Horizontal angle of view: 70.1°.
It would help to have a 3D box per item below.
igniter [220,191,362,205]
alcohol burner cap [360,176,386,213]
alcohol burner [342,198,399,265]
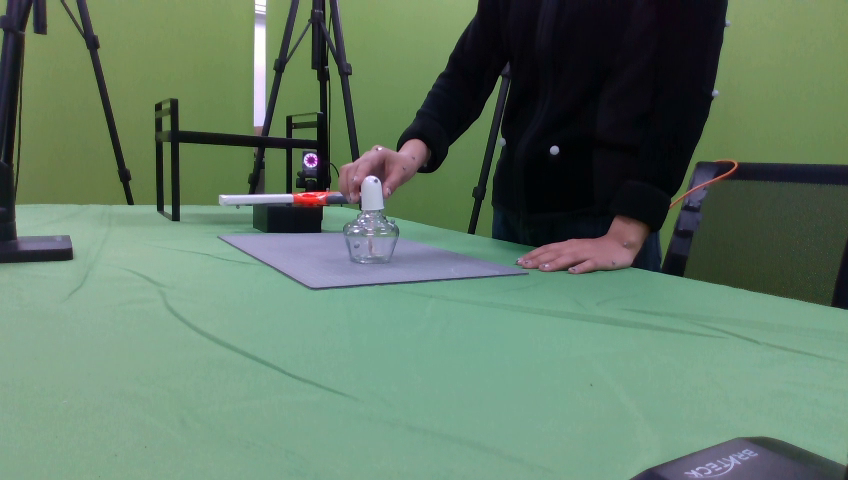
[{"bbox_3d":[-0.243,-0.079,1.152,0.278,0.025,0.057,-3,12,-27],"label":"igniter"},{"bbox_3d":[-0.070,-0.063,0.814,0.034,0.048,0.034,-6,14,2],"label":"alcohol burner cap"},{"bbox_3d":[-0.072,-0.027,0.818,0.078,0.119,0.078,1,6,0],"label":"alcohol burner"}]
